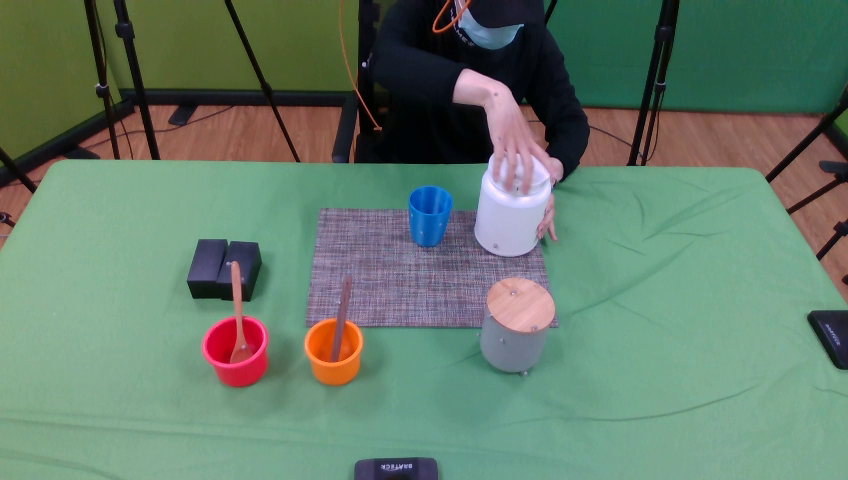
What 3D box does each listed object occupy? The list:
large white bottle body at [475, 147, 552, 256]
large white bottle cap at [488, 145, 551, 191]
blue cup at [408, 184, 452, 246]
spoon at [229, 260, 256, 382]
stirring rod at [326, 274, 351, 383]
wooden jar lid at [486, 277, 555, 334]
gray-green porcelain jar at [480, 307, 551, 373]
[{"bbox_3d":[0.170,-0.073,1.159,0.131,0.185,0.130,2,46,-2],"label":"large white bottle body"},{"bbox_3d":[0.173,-0.132,1.099,0.115,0.018,0.114,2,46,-2],"label":"large white bottle cap"},{"bbox_3d":[0.008,-0.043,1.177,0.093,0.101,0.092,3,47,-3],"label":"blue cup"},{"bbox_3d":[-0.295,0.129,0.966,0.042,0.021,0.193,-4,91,-9],"label":"spoon"},{"bbox_3d":[-0.137,0.142,0.971,0.014,0.006,0.176,9,89,0],"label":"stirring rod"},{"bbox_3d":[0.150,0.105,0.948,0.108,0.021,0.107,3,47,-3],"label":"wooden jar lid"},{"bbox_3d":[0.148,0.148,0.992,0.106,0.127,0.105,2,46,-2],"label":"gray-green porcelain jar"}]
